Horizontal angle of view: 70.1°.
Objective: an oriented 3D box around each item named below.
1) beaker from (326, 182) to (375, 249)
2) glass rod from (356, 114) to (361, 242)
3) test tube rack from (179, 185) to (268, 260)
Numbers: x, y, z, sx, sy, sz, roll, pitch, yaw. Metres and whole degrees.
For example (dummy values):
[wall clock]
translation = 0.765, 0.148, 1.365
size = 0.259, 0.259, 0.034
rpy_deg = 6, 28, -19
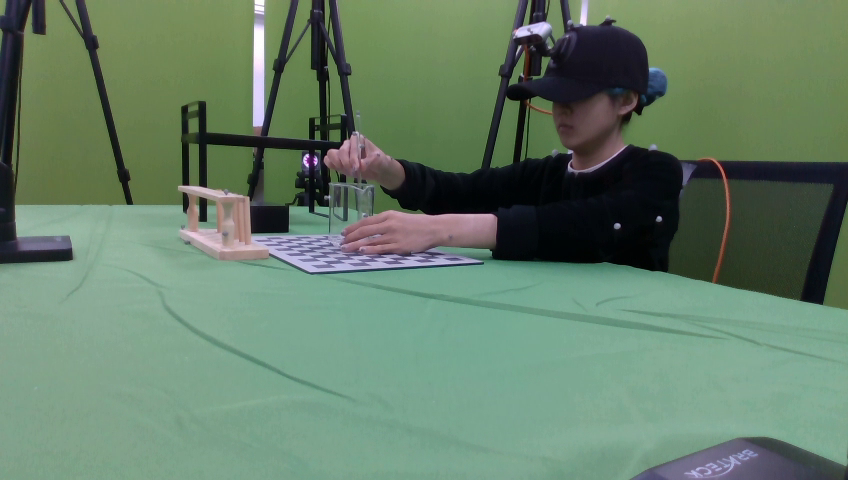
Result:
[beaker]
translation = -0.114, -0.039, 0.950
size = 0.074, 0.100, 0.083
rpy_deg = -2, 9, -30
[glass rod]
translation = -0.102, -0.096, 0.944
size = 0.008, 0.199, 0.008
rpy_deg = 0, 1, 0
[test tube rack]
translation = -0.303, -0.031, 0.898
size = 0.067, 0.085, 0.241
rpy_deg = -2, 9, -33
